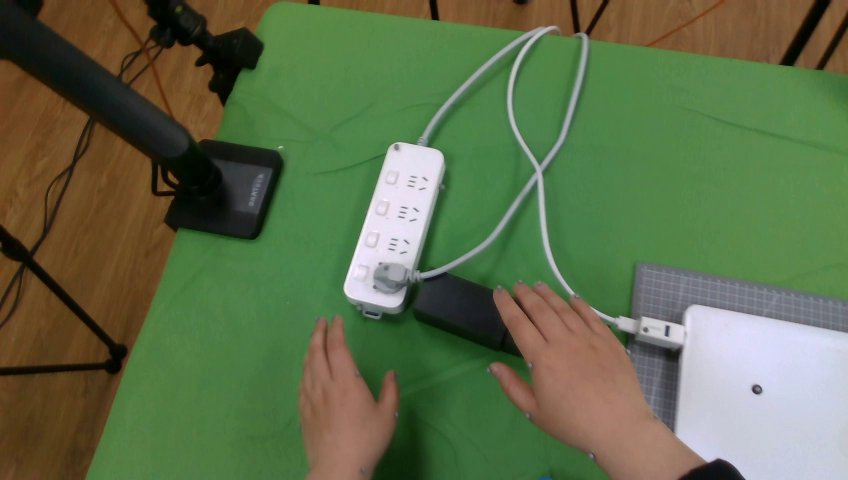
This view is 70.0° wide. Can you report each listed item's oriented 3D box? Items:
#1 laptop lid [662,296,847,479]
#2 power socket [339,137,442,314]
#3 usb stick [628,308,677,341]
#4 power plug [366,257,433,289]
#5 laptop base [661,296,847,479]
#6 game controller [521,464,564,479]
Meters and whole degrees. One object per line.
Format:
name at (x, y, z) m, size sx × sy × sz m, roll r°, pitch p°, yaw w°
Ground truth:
laptop lid at (0.422, 0.197, 0.598) m, size 0.356 × 0.013 × 0.240 m, roll 12°, pitch 72°, yaw 8°
power socket at (-0.037, -0.024, 0.717) m, size 0.072 × 0.033 × 0.225 m, roll 14°, pitch 69°, yaw 8°
usb stick at (0.251, 0.092, 0.647) m, size 0.059 × 0.027 × 0.021 m, roll 14°, pitch 65°, yaw 5°
power plug at (-0.030, 0.044, 0.669) m, size 0.072 × 0.053 × 0.035 m, roll 26°, pitch 70°, yaw 11°
laptop base at (0.424, 0.199, 0.610) m, size 0.354 × 0.023 × 0.234 m, roll 10°, pitch 73°, yaw 7°
game controller at (0.085, 0.286, 0.581) m, size 0.155 × 0.052 × 0.096 m, roll -25°, pitch 66°, yaw -7°
